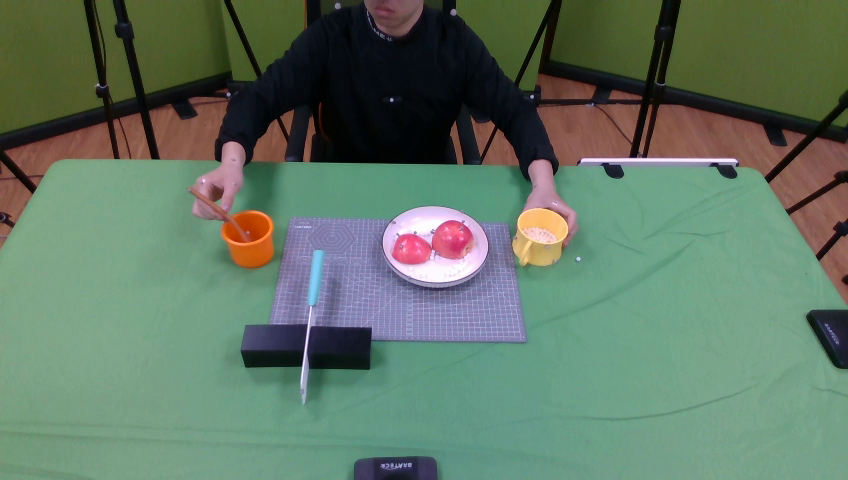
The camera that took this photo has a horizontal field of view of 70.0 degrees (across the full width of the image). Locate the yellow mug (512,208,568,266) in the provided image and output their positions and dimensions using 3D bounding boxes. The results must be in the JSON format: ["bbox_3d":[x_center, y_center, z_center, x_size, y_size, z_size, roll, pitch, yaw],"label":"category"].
[{"bbox_3d":[0.219,0.002,1.182,0.099,0.064,0.130,26,51,21],"label":"yellow mug"}]

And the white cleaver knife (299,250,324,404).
[{"bbox_3d":[-0.194,0.134,1.019,0.021,0.066,0.284,5,50,-5],"label":"white cleaver knife"}]

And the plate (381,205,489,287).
[{"bbox_3d":[0.021,0.015,1.170,0.209,0.038,0.208,2,46,-2],"label":"plate"}]

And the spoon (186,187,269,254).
[{"bbox_3d":[-0.353,-0.034,1.098,0.021,0.195,0.041,-33,37,6],"label":"spoon"}]

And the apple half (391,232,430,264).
[{"bbox_3d":[-0.024,0.009,1.163,0.081,0.033,0.081,2,43,-2],"label":"apple half"}]

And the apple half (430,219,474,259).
[{"bbox_3d":[0.056,-0.007,1.172,0.081,0.053,0.074,-33,59,-31],"label":"apple half"}]
